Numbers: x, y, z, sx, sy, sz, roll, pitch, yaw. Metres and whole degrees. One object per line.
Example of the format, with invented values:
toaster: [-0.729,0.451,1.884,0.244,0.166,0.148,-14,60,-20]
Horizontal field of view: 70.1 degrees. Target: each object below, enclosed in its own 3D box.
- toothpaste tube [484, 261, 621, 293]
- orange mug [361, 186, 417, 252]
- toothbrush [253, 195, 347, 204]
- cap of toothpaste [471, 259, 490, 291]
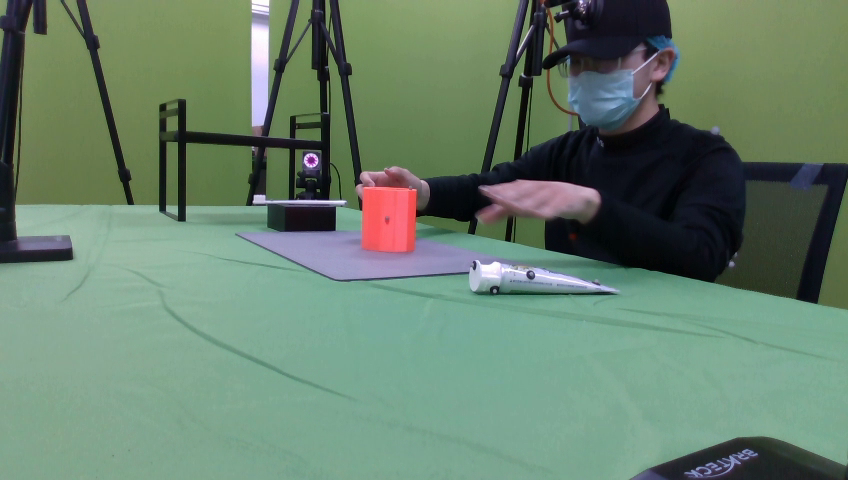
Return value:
toothpaste tube: [0.136,0.045,0.674,0.166,0.034,0.055,4,11,-18]
orange mug: [-0.054,-0.039,0.962,0.083,0.101,0.126,2,12,0]
toothbrush: [-0.234,-0.076,1.154,0.183,0.016,0.014,-1,4,-27]
cap of toothpaste: [0.061,0.038,0.651,0.011,0.037,0.037,4,7,-18]
